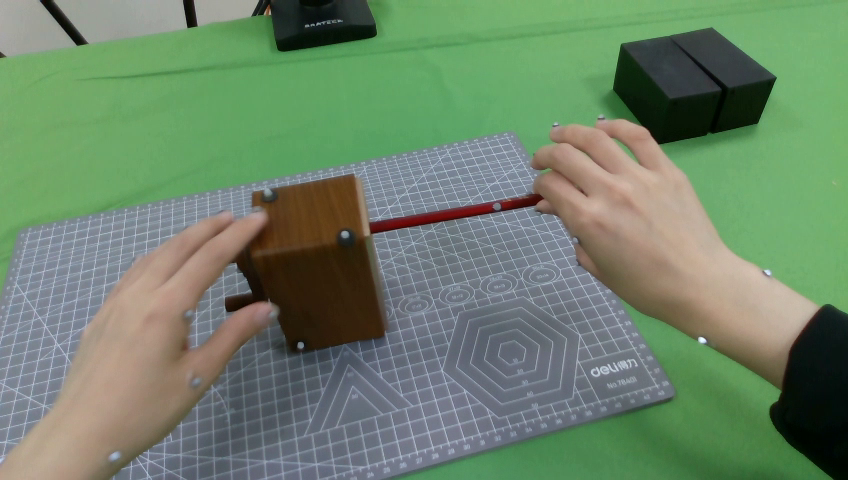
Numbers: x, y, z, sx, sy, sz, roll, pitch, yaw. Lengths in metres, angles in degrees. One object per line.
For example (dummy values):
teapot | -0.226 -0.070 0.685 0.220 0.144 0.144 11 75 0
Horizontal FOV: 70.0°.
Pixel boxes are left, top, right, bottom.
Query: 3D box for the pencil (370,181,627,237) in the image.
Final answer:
pencil | 0.037 -0.018 0.392 0.194 0.012 0.012 -10 46 -4

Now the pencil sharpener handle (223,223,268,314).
pencil sharpener handle | -0.120 0.022 0.390 0.031 0.068 0.035 -10 41 -4

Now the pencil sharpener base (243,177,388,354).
pencil sharpener base | -0.069 0.021 0.404 0.077 0.108 0.060 -10 47 -4
